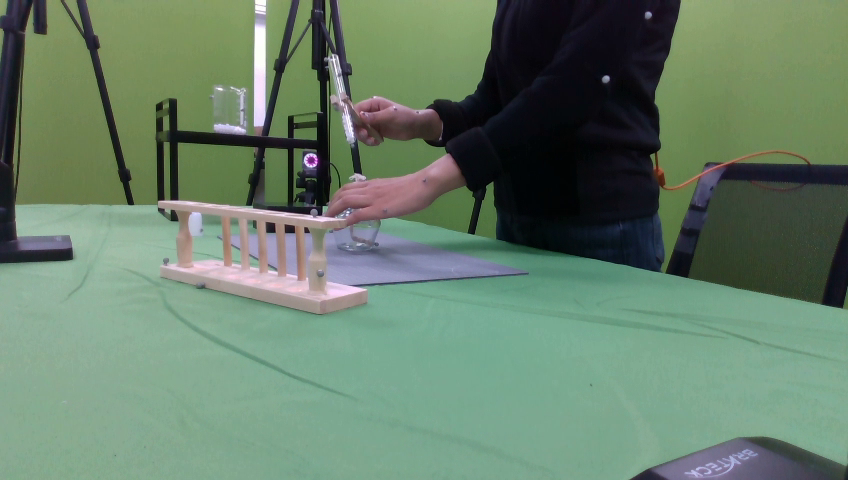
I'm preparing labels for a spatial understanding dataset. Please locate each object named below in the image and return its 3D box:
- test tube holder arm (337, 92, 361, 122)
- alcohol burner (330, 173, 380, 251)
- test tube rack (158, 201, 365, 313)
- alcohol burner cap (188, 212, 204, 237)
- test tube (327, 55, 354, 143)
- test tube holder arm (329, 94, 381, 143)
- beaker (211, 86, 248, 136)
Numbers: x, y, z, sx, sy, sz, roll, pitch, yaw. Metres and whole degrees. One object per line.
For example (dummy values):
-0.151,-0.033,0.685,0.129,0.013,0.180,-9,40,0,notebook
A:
-0.119,-0.211,0.968,0.010,0.015,0.088,-11,-15,10,test tube holder arm
-0.106,-0.044,0.930,0.078,0.119,0.078,3,6,0,alcohol burner
-0.174,0.009,0.624,0.241,0.085,0.067,7,9,34,test tube rack
-0.390,-0.029,1.025,0.034,0.048,0.034,2,9,0,alcohol burner cap
-0.131,-0.222,0.948,0.017,0.150,0.017,-13,-12,-3,test tube
-0.111,-0.200,1.011,0.013,0.015,0.179,-12,-15,16,test tube holder arm
-0.413,-0.274,1.297,0.074,0.100,0.083,-5,11,-44,beaker
